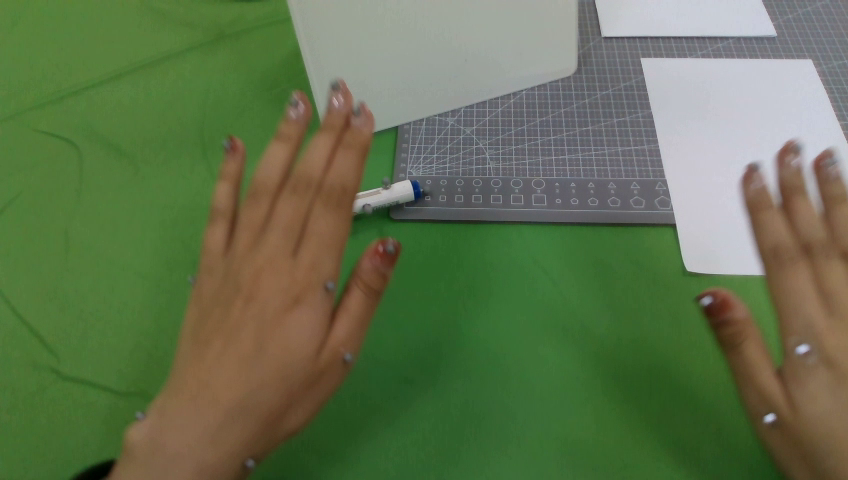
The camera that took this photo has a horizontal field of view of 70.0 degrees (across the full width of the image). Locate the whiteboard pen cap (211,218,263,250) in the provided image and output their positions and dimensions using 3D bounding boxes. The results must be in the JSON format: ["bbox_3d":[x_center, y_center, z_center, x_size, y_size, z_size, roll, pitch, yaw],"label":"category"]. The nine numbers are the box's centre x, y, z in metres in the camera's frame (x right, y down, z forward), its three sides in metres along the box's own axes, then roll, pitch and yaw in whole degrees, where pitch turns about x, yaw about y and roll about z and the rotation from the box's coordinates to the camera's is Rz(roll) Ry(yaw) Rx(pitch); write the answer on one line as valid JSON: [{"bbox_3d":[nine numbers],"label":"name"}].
[{"bbox_3d":[-0.127,-0.005,0.415,0.033,0.018,0.018,-15,57,-12],"label":"whiteboard pen cap"}]

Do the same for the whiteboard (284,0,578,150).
[{"bbox_3d":[-0.016,-0.259,0.447,0.217,0.308,0.142,-17,38,-8],"label":"whiteboard"}]

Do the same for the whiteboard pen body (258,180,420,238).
[{"bbox_3d":[-0.071,-0.019,0.426,0.141,0.017,0.017,-15,57,-9],"label":"whiteboard pen body"}]
